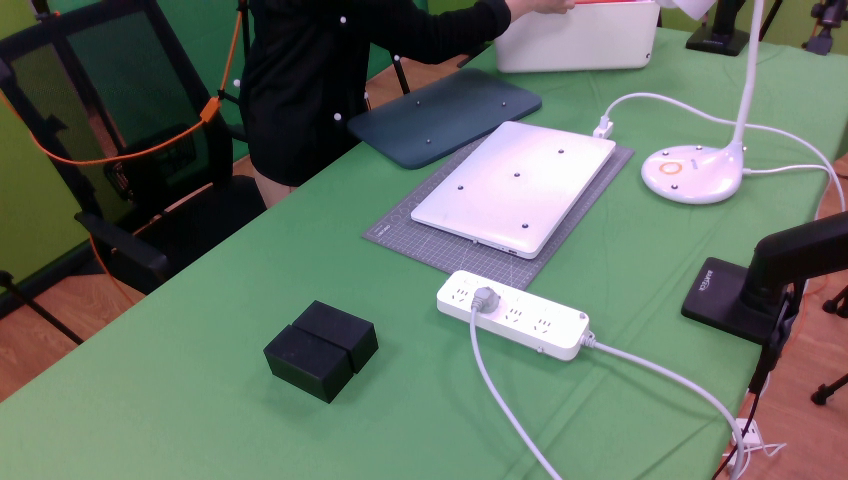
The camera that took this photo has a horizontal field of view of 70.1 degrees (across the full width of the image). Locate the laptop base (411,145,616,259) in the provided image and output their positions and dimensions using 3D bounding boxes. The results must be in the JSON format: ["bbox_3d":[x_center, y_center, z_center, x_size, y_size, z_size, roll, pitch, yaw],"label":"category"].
[{"bbox_3d":[0.168,-0.101,1.074,0.234,0.023,0.355,17,46,30],"label":"laptop base"}]

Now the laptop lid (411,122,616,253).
[{"bbox_3d":[0.165,-0.111,1.067,0.240,0.013,0.357,19,46,31],"label":"laptop lid"}]

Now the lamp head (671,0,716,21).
[{"bbox_3d":[0.375,-0.373,0.807,0.122,0.113,0.112,-40,27,32],"label":"lamp head"}]

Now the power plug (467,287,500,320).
[{"bbox_3d":[0.073,0.092,0.814,0.035,0.053,0.073,29,54,34],"label":"power plug"}]

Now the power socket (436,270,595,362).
[{"bbox_3d":[0.118,0.101,0.832,0.225,0.033,0.072,19,48,27],"label":"power socket"}]

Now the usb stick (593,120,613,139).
[{"bbox_3d":[0.336,-0.201,1.147,0.021,0.027,0.059,27,53,27],"label":"usb stick"}]

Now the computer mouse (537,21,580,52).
[{"bbox_3d":[0.334,-0.503,1.488,0.118,0.041,0.062,21,21,-27],"label":"computer mouse"}]

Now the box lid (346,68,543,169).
[{"bbox_3d":[0.045,-0.272,1.299,0.373,0.015,0.261,-29,44,-24],"label":"box lid"}]

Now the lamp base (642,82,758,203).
[{"bbox_3d":[0.464,-0.174,0.992,0.179,0.181,0.159,-5,41,-2],"label":"lamp base"}]

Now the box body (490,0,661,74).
[{"bbox_3d":[0.346,-0.520,1.429,0.363,0.161,0.253,0,41,9],"label":"box body"}]
